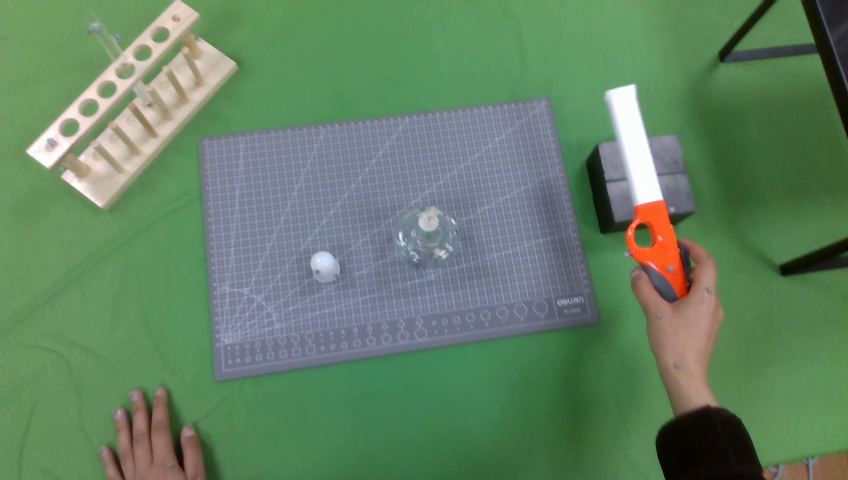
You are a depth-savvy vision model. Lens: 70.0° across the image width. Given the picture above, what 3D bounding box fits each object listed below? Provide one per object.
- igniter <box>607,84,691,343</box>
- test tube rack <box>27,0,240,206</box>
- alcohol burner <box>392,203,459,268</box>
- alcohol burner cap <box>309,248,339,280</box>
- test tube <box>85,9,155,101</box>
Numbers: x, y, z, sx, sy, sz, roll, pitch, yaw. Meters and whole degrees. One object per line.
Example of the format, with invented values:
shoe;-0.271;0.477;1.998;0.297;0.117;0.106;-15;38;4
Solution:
igniter;0.237;-0.030;0.642;0.057;0.025;0.275;-11;83;5
test tube rack;-0.333;-0.162;0.717;0.066;0.085;0.242;36;76;7
alcohol burner;0.003;-0.010;0.681;0.078;0.119;0.077;1;73;-4
alcohol burner cap;-0.117;0.026;0.701;0.034;0.048;0.033;0;74;-1
test tube;-0.335;-0.201;0.676;0.017;0.151;0.017;1;70;-2
